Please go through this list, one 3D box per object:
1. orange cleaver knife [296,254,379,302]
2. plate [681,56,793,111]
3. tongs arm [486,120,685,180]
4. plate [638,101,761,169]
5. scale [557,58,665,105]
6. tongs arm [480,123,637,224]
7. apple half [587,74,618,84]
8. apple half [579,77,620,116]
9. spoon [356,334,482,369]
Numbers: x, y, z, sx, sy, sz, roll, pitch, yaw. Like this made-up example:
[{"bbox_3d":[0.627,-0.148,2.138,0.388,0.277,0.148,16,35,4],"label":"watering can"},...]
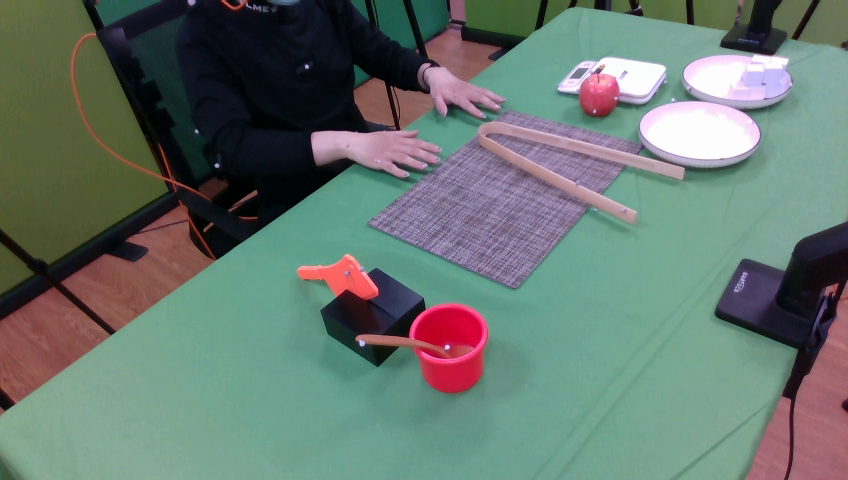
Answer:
[{"bbox_3d":[-0.129,0.058,0.874,0.012,0.077,0.210,-39,16,-30],"label":"orange cleaver knife"},{"bbox_3d":[0.636,-0.317,1.239,0.207,0.039,0.206,-4,40,4],"label":"plate"},{"bbox_3d":[0.287,-0.171,1.123,0.384,0.028,0.028,21,52,29],"label":"tongs arm"},{"bbox_3d":[0.500,-0.189,1.111,0.209,0.038,0.208,-4,41,4],"label":"plate"},{"bbox_3d":[0.407,-0.348,1.314,0.199,0.032,0.149,19,47,28],"label":"scale"},{"bbox_3d":[0.228,-0.128,1.080,0.051,0.026,0.381,-33,46,-26],"label":"tongs arm"},{"bbox_3d":[0.366,-0.310,1.243,0.081,0.081,0.033,15,49,24],"label":"apple half"},{"bbox_3d":[0.348,-0.285,1.218,0.080,0.075,0.053,17,49,22],"label":"apple half"},{"bbox_3d":[-0.001,0.130,0.731,0.195,0.021,0.041,21,28,-39],"label":"spoon"}]
